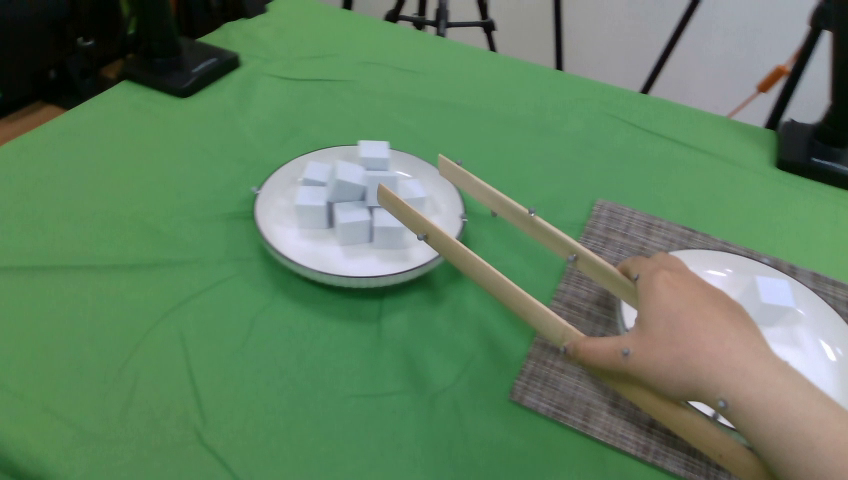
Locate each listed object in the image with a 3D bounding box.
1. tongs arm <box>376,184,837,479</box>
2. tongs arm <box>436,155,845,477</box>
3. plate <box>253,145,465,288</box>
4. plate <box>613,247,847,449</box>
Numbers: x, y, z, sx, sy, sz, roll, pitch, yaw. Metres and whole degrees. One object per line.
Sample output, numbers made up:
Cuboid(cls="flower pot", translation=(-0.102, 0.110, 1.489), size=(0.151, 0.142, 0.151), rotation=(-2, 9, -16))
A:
Cuboid(cls="tongs arm", translation=(0.093, 0.053, 0.444), size=(0.028, 0.028, 0.384), rotation=(-29, 51, -35))
Cuboid(cls="tongs arm", translation=(0.124, 0.035, 0.464), size=(0.051, 0.027, 0.381), rotation=(-30, 51, -31))
Cuboid(cls="plate", translation=(-0.063, -0.023, 0.613), size=(0.209, 0.038, 0.207), rotation=(4, 42, -3))
Cuboid(cls="plate", translation=(0.265, 0.090, 0.527), size=(0.208, 0.039, 0.205), rotation=(4, 43, -3))
